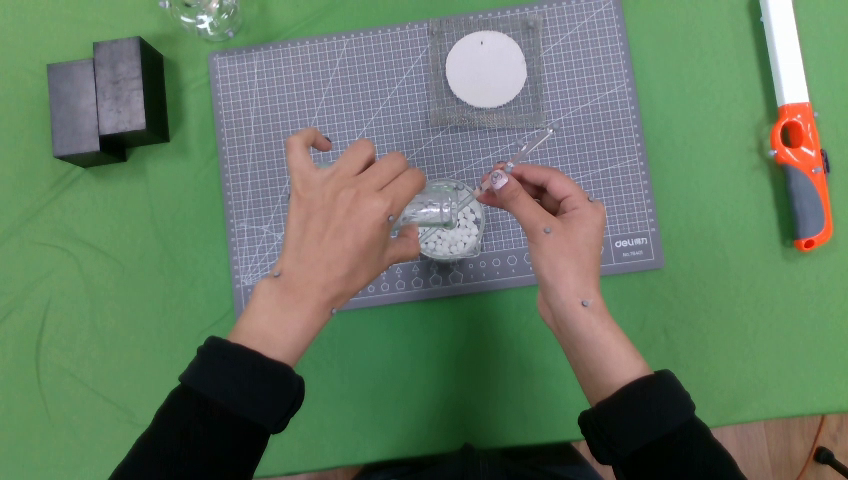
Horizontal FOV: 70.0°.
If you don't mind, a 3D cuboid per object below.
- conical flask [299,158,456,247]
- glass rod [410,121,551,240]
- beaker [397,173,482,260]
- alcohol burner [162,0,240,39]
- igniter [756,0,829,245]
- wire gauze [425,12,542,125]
[{"bbox_3d":[-0.036,-0.031,0.507,0.121,0.075,0.075,1,85,11],"label":"conical flask"},{"bbox_3d":[0.038,-0.043,0.508,0.008,0.200,0.008,16,58,-27],"label":"glass rod"},{"bbox_3d":[0.020,-0.016,0.589,0.074,0.100,0.084,-44,84,-1],"label":"beaker"},{"bbox_3d":[-0.235,-0.254,0.617,0.078,0.119,0.078,0,86,5],"label":"alcohol burner"},{"bbox_3d":[0.374,-0.132,0.619,0.057,0.025,0.276,-6,85,-7],"label":"igniter"},{"bbox_3d":[0.064,-0.183,0.646,0.125,0.011,0.121,0,85,0],"label":"wire gauze"}]
